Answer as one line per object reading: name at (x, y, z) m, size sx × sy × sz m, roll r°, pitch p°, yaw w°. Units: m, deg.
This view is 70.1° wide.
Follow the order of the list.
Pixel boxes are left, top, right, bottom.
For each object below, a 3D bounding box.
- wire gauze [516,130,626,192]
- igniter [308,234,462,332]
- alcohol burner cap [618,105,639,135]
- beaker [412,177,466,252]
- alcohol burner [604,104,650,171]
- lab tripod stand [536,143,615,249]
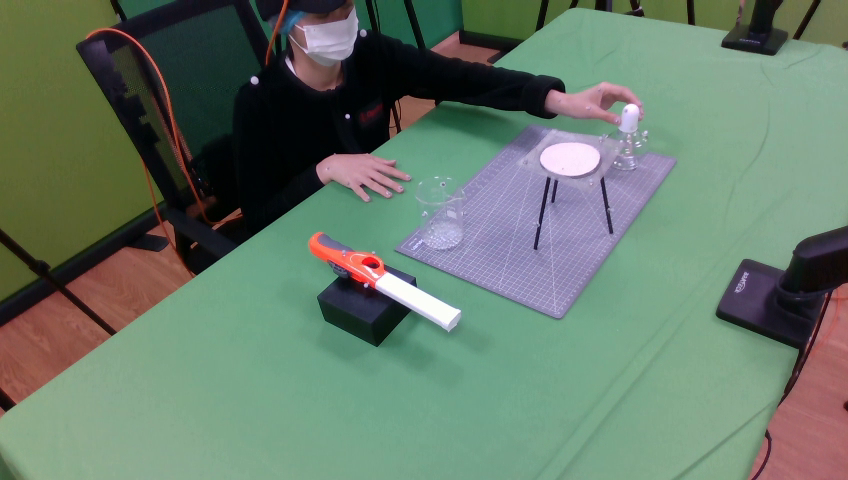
wire gauze at (0.216, -0.123, 0.892) m, size 0.124 × 0.011 × 0.122 m, roll 22°, pitch 49°, yaw 31°
igniter at (-0.066, 0.054, 0.846) m, size 0.274 × 0.025 × 0.057 m, roll 26°, pitch 49°, yaw 29°
alcohol burner cap at (0.353, -0.208, 1.036) m, size 0.034 × 0.048 × 0.033 m, roll -3°, pitch 47°, yaw 4°
beaker at (0.029, -0.038, 0.952) m, size 0.083 × 0.101 × 0.074 m, roll 9°, pitch 43°, yaw 18°
alcohol burner at (0.357, -0.182, 1.060) m, size 0.078 × 0.119 × 0.077 m, roll -6°, pitch 40°, yaw 6°
lab tripod stand at (0.224, -0.069, 0.931) m, size 0.148 × 0.132 × 0.147 m, roll -4°, pitch 42°, yaw 4°
